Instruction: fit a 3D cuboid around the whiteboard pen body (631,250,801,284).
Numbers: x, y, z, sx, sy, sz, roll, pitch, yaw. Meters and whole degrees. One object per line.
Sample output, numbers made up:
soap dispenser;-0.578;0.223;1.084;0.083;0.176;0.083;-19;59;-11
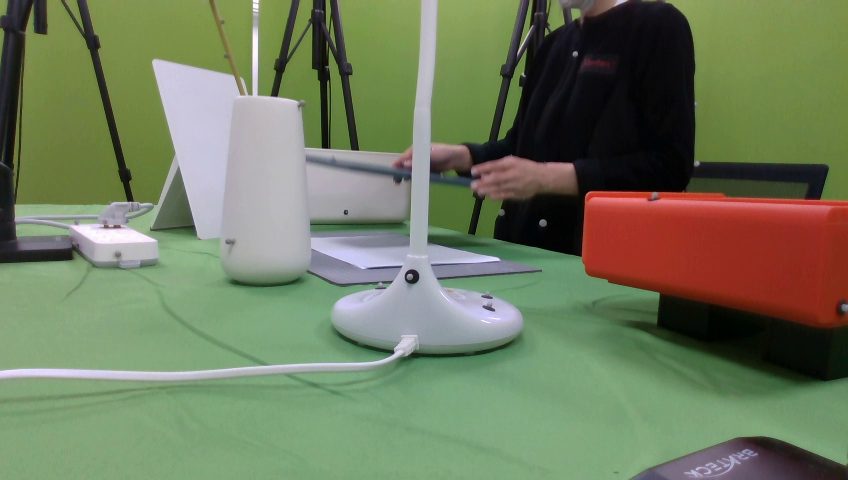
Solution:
whiteboard pen body;0.239;0.020;0.512;0.017;0.017;0.140;-4;8;-41

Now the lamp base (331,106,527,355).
lamp base;0.006;-0.012;0.478;0.161;0.180;0.179;2;10;2

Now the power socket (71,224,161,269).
power socket;-0.408;0.004;0.793;0.072;0.032;0.225;-2;8;-38

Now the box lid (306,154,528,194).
box lid;-0.029;-0.113;1.036;0.374;0.015;0.262;3;9;-40

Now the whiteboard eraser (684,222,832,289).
whiteboard eraser;0.305;0.013;0.558;0.056;0.042;0.112;-10;20;-30

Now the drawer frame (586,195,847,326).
drawer frame;0.284;0.004;0.508;0.203;0.082;0.212;-1;6;-28

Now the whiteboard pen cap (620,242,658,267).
whiteboard pen cap;0.199;0.013;0.557;0.018;0.018;0.033;-4;17;-39

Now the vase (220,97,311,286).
vase;-0.172;-0.052;0.662;0.098;0.200;0.098;3;8;0

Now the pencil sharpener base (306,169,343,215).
pencil sharpener base;-0.234;-0.113;1.433;0.077;0.107;0.061;-1;6;-30

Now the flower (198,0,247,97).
flower;-0.187;-0.133;0.648;0.038;0.362;0.044;-1;22;43

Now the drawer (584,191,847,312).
drawer;0.280;0.001;0.513;0.195;0.073;0.211;0;8;-28

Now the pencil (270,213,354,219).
pencil;-0.244;-0.054;1.339;0.195;0.012;0.012;-2;9;-29

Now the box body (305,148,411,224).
box body;-0.233;-0.127;1.374;0.366;0.160;0.253;-2;8;-29

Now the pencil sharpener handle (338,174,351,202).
pencil sharpener handle;-0.190;-0.126;1.459;0.031;0.067;0.036;-1;10;-30

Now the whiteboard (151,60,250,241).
whiteboard;-0.408;-0.140;1.094;0.143;0.305;0.218;-15;0;25

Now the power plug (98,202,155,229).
power plug;-0.416;-0.027;0.848;0.073;0.052;0.035;0;8;-28
